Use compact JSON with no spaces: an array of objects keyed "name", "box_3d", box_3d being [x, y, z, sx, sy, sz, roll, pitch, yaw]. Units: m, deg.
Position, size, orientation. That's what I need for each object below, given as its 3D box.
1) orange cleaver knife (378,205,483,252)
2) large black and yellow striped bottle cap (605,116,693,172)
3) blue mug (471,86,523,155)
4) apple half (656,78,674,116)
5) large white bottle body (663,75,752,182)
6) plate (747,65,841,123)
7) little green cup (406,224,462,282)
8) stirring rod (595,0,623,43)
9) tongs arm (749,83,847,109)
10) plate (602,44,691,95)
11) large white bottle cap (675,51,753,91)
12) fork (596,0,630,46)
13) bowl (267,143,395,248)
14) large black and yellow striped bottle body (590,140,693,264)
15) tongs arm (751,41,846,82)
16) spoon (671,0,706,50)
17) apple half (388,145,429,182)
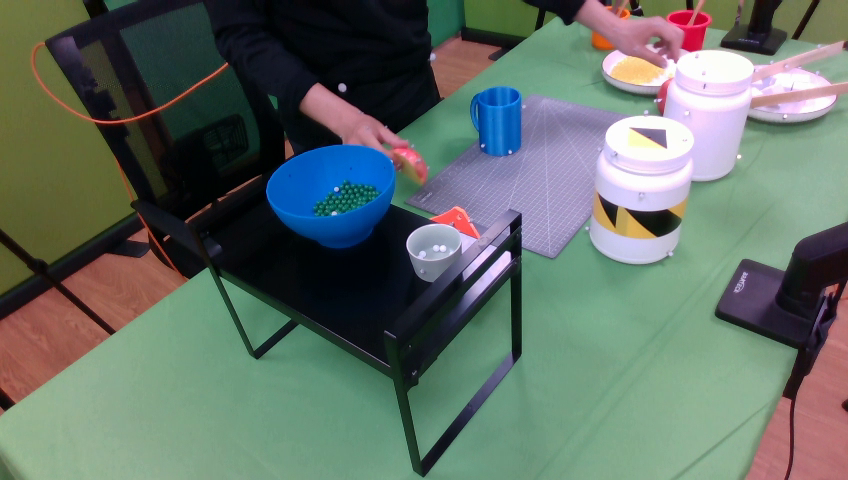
[{"name":"orange cleaver knife","box_3d":[0.005,-0.010,0.943,0.210,0.077,0.012,-5,23,47]},{"name":"large black and yellow striped bottle cap","box_3d":[0.309,-0.134,0.833,0.115,0.019,0.114,-5,41,5]},{"name":"blue mug","box_3d":[0.135,-0.235,1.163,0.082,0.106,0.115,-36,48,-29]},{"name":"apple half","box_3d":[0.488,-0.281,1.192,0.053,0.075,0.081,24,54,37]},{"name":"large white bottle body","box_3d":[0.472,-0.207,1.022,0.130,0.185,0.130,-4,41,4]},{"name":"plate","box_3d":[0.694,-0.283,1.189,0.207,0.039,0.206,-4,40,4]},{"name":"little green cup","box_3d":[0.013,0.015,0.668,0.061,0.039,0.061,-4,40,4]},{"name":"stirring rod","box_3d":[0.460,-0.556,1.460,0.014,0.006,0.176,30,93,23]},{"name":"tongs arm","box_3d":[0.734,-0.280,1.133,0.388,0.028,0.028,-9,47,-5]},{"name":"plate","box_3d":[0.495,-0.367,1.317,0.209,0.038,0.208,-4,40,4]},{"name":"large white bottle cap","box_3d":[0.463,-0.271,0.967,0.115,0.018,0.114,-4,40,3]},{"name":"fork","box_3d":[0.481,-0.556,1.452,0.028,0.019,0.207,40,103,40]},{"name":"bowl","box_3d":[-0.104,-0.043,0.726,0.151,0.077,0.150,-4,41,4]},{"name":"large black and yellow striped bottle body","box_3d":[0.317,-0.071,0.889,0.131,0.185,0.130,-4,41,4]},{"name":"tongs arm","box_3d":[0.708,-0.331,1.193,0.386,0.026,0.050,-18,45,-16]},{"name":"spoon","box_3d":[0.629,-0.520,1.394,0.041,0.022,0.193,30,96,34]},{"name":"apple half","box_3d":[-0.019,-0.133,0.979,0.033,0.082,0.080,-47,51,-8]}]
